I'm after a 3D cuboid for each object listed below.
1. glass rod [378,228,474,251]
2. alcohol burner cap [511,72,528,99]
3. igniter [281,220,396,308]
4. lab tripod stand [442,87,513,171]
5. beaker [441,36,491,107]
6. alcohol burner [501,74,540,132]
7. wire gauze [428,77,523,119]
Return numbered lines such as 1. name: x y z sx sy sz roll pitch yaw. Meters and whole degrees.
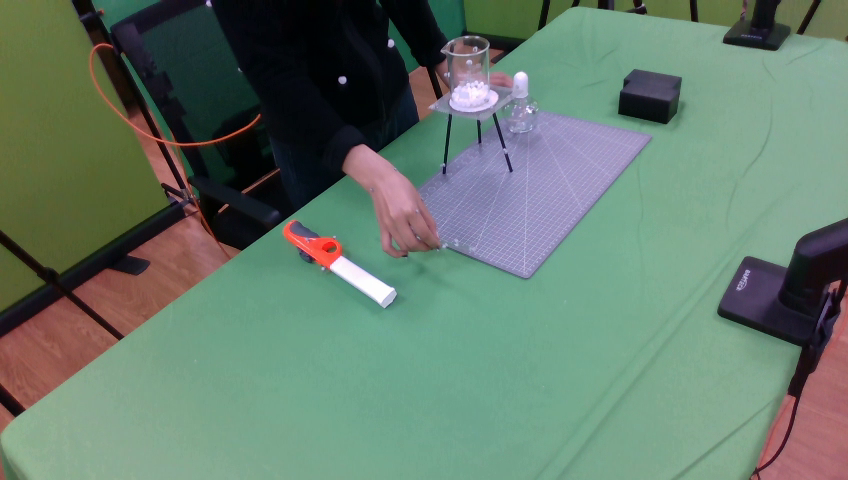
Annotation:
1. glass rod: -0.003 -0.003 0.946 0.198 0.008 0.008 12 44 40
2. alcohol burner cap: 0.185 -0.302 1.171 0.034 0.048 0.033 -2 42 2
3. igniter: -0.146 0.032 0.966 0.274 0.025 0.057 30 64 37
4. lab tripod stand: 0.097 -0.200 1.108 0.148 0.132 0.147 -4 40 4
5. beaker: 0.074 -0.286 1.036 0.084 0.101 0.073 -1 41 8
6. alcohol burner: 0.191 -0.275 1.194 0.078 0.119 0.077 -4 42 4
7. wire gauze: 0.090 -0.248 1.063 0.120 0.011 0.125 24 48 30
